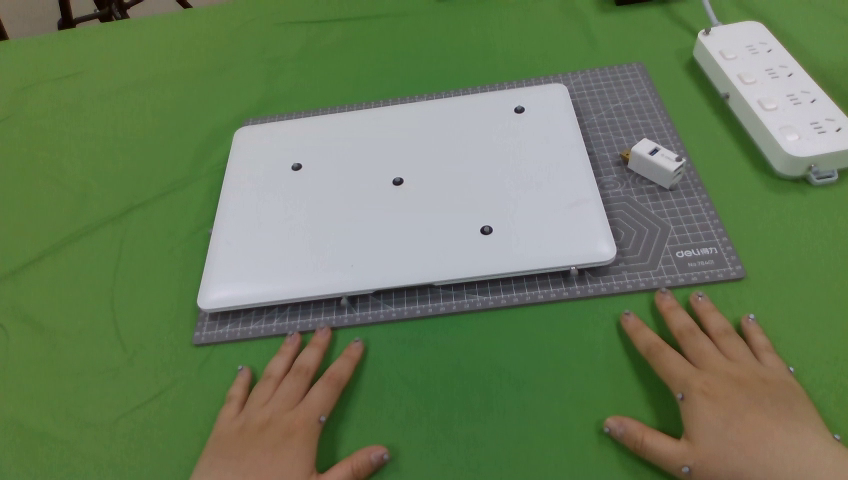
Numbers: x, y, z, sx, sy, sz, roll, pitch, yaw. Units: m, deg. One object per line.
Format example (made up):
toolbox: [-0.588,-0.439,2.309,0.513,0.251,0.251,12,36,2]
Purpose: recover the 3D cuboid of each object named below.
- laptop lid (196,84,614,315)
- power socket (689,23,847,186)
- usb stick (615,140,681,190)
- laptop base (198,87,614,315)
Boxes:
laptop lid: [-0.025,-0.050,0.565,0.356,0.013,0.239,-6,51,5]
power socket: [0.330,-0.141,0.587,0.072,0.033,0.224,-9,49,1]
usb stick: [0.201,-0.071,0.551,0.021,0.027,0.058,-36,50,-21]
laptop base: [-0.024,-0.044,0.575,0.354,0.023,0.233,-7,52,4]
